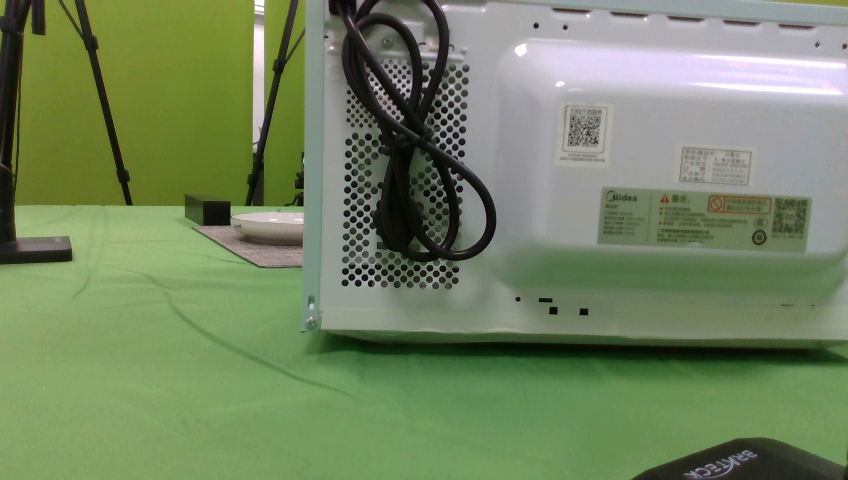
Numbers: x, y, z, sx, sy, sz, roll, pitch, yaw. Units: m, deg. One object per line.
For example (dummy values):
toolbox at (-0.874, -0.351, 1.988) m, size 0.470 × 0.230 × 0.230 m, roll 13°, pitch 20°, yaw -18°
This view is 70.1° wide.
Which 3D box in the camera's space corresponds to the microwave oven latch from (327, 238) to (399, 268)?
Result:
microwave oven latch at (-0.069, 0.015, 0.694) m, size 0.079 × 0.029 × 0.030 m, roll 3°, pitch 7°, yaw -3°

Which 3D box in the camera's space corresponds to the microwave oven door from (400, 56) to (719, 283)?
microwave oven door at (0.155, -0.077, 0.698) m, size 0.356 × 0.243 × 0.039 m, roll 2°, pitch 8°, yaw -5°

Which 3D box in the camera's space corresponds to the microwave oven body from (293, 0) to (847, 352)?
microwave oven body at (0.122, -0.055, 0.550) m, size 0.442 × 0.260 × 0.325 m, roll 3°, pitch 7°, yaw -5°

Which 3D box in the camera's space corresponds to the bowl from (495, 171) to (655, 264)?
bowl at (0.144, -0.023, 0.592) m, size 0.151 × 0.077 × 0.151 m, roll 1°, pitch 11°, yaw 0°

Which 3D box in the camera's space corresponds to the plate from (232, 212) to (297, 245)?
plate at (-0.214, -0.019, 1.017) m, size 0.208 × 0.039 × 0.207 m, roll 3°, pitch 7°, yaw 0°
